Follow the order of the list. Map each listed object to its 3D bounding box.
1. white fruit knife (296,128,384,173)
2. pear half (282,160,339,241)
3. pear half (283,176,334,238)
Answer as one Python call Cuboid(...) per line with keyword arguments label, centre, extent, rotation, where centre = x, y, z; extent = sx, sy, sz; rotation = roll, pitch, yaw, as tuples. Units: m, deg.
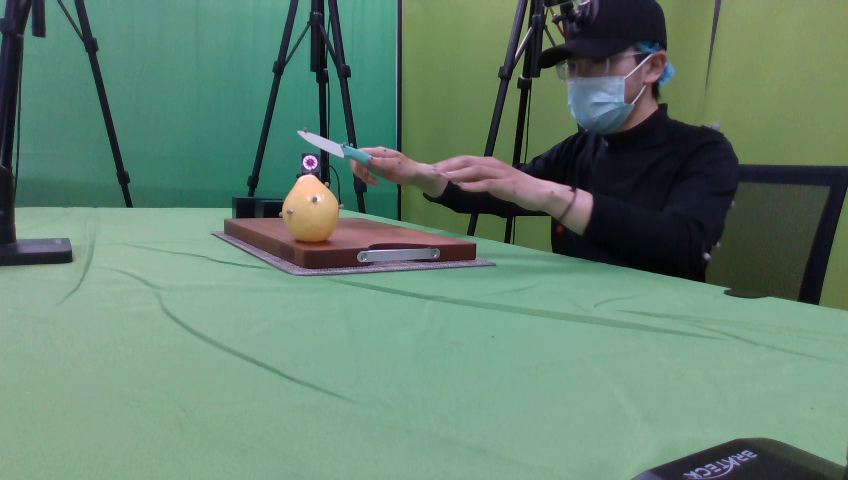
Cuboid(label="white fruit knife", centre=(-0.140, -0.156, 1.044), extent=(0.016, 0.027, 0.208), rotation=(-15, -20, 35))
Cuboid(label="pear half", centre=(-0.151, -0.052, 0.812), extent=(0.077, 0.110, 0.055), rotation=(-5, 10, -22))
Cuboid(label="pear half", centre=(-0.164, -0.047, 0.847), extent=(0.071, 0.088, 0.031), rotation=(-9, 12, -23))
